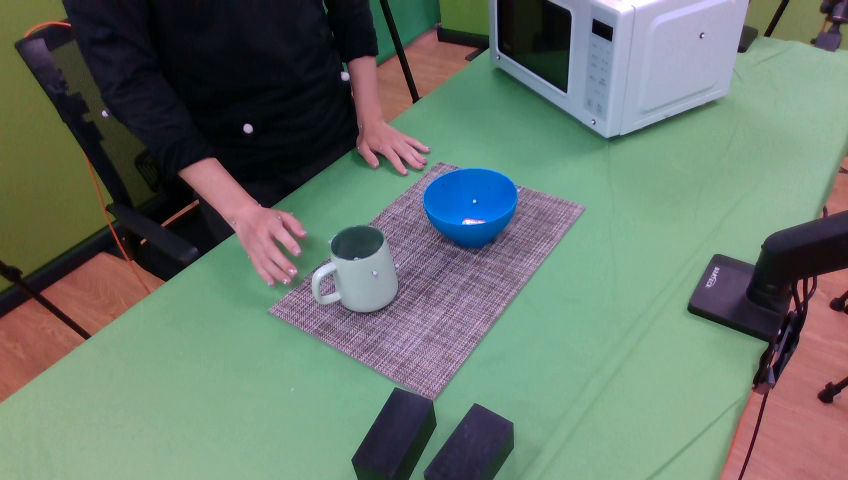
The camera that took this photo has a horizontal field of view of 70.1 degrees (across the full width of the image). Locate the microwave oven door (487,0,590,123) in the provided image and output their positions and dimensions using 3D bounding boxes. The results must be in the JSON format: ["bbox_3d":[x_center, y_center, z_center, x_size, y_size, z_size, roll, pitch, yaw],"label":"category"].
[{"bbox_3d":[0.232,-0.420,1.231,0.039,0.245,0.352,-22,43,-16],"label":"microwave oven door"}]

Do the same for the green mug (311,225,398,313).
[{"bbox_3d":[-0.101,0.050,0.857,0.126,0.105,0.091,-28,45,-23],"label":"green mug"}]

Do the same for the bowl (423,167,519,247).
[{"bbox_3d":[0.075,-0.041,0.958,0.151,0.077,0.150,-4,40,4],"label":"bowl"}]

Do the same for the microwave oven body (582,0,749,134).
[{"bbox_3d":[0.382,-0.444,1.246,0.327,0.261,0.437,-22,42,-16],"label":"microwave oven body"}]

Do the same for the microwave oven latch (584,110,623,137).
[{"bbox_3d":[0.337,-0.222,1.142,0.030,0.029,0.078,-21,42,-14],"label":"microwave oven latch"}]
